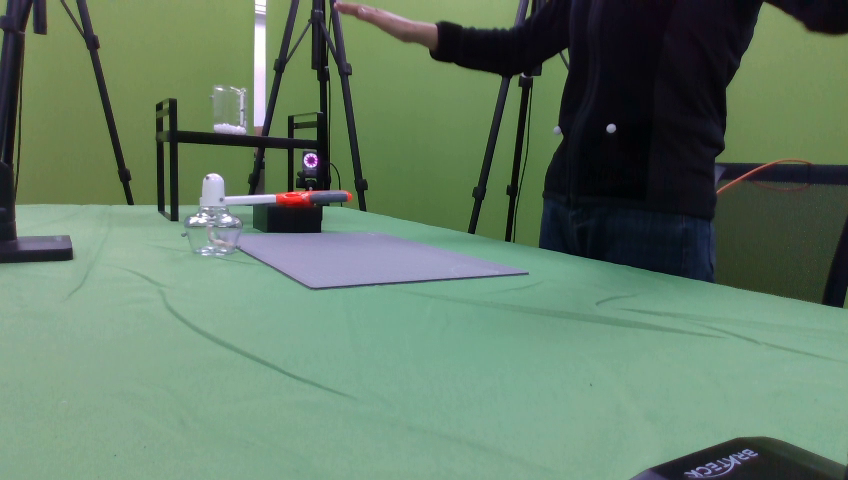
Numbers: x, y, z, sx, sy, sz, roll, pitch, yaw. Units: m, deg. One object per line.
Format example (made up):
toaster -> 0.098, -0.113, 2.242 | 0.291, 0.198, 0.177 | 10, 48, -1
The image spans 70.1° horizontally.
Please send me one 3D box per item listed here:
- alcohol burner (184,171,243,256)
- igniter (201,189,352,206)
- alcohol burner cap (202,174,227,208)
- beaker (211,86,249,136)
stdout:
alcohol burner -> -0.296, -0.038, 0.851 | 0.078, 0.119, 0.078 | 2, 5, 0
igniter -> -0.271, -0.078, 1.139 | 0.278, 0.025, 0.057 | -5, 11, -27
alcohol burner cap -> -0.293, -0.068, 0.846 | 0.034, 0.048, 0.034 | 0, 5, 0
beaker -> -0.413, -0.274, 1.297 | 0.074, 0.100, 0.083 | -5, 11, -44
